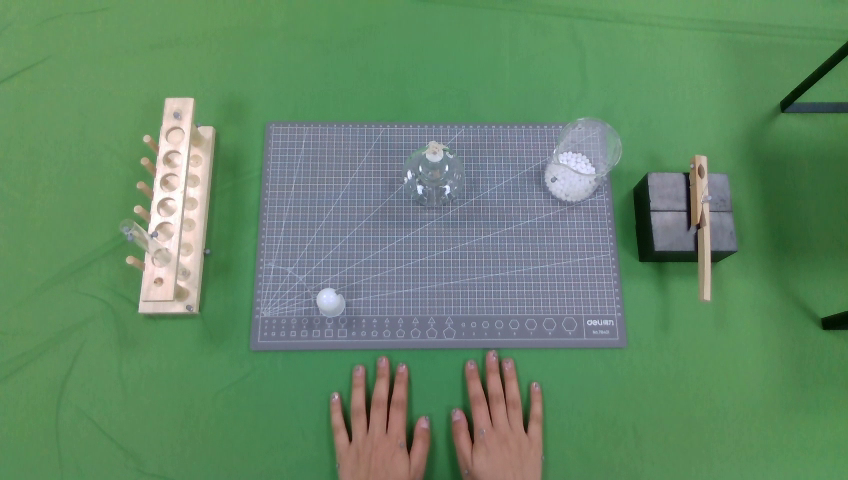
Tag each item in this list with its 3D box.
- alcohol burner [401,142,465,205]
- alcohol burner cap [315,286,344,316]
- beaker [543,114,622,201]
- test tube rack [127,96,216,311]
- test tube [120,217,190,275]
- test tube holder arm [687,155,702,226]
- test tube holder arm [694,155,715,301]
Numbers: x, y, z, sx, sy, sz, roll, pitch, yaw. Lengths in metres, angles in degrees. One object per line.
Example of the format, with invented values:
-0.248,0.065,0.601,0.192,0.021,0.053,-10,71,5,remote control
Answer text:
0.011,-0.087,0.725,0.078,0.119,0.077,0,74,0,alcohol burner
-0.113,0.069,0.713,0.034,0.048,0.033,1,73,-3,alcohol burner cap
0.186,-0.094,0.741,0.084,0.101,0.073,-22,75,-7,beaker
-0.303,-0.042,0.719,0.067,0.085,0.241,0,74,-1,test tube rack
-0.286,0.010,0.653,0.017,0.151,0.017,0,70,0,test tube
0.327,-0.060,0.731,0.010,0.015,0.087,2,75,0,test tube holder arm
0.332,-0.016,0.720,0.013,0.015,0.177,1,75,0,test tube holder arm
